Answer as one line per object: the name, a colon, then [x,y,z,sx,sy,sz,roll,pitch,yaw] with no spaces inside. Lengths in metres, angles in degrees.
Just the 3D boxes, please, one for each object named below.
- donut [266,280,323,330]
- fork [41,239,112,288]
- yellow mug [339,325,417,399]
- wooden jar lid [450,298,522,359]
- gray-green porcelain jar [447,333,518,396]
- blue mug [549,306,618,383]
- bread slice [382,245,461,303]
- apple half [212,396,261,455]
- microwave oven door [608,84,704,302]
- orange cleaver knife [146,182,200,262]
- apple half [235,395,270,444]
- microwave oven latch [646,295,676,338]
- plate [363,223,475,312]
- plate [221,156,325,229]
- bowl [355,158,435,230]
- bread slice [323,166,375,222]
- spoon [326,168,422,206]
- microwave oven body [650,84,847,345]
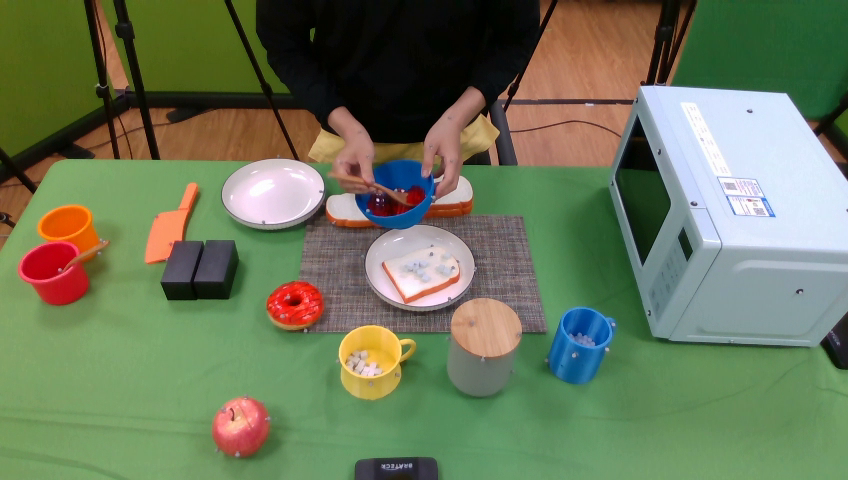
donut: [-0.223,0.113,1.051,0.099,0.048,0.098,2,46,-2]
fork: [-0.591,0.040,1.028,0.207,0.019,0.028,-27,37,29]
yellow mug: [-0.072,0.190,0.978,0.131,0.064,0.099,-17,50,-20]
wooden jar lid: [0.093,0.135,0.914,0.108,0.021,0.107,2,48,-3]
gray-green porcelain jar: [0.091,0.178,0.960,0.106,0.127,0.105,2,46,-2]
blue mug: [0.269,0.167,0.997,0.116,0.106,0.082,-19,51,-21]
bread slice: [0.001,0.055,1.129,0.131,0.019,0.104,-21,52,-19]
apple half: [-0.276,0.276,0.877,0.053,0.075,0.080,-29,58,-21]
microwave oven door: [0.424,-0.096,1.138,0.039,0.245,0.353,2,47,-1]
orange cleaver knife: [-0.494,-0.039,1.198,0.077,0.012,0.210,-3,48,2]
apple half: [-0.245,0.260,0.893,0.033,0.082,0.081,-29,55,-22]
microwave oven latch: [0.413,0.133,1.060,0.030,0.029,0.078,4,46,1]
plate: [-0.009,0.054,1.126,0.208,0.039,0.206,2,46,-2]
plate: [-0.308,-0.095,1.251,0.209,0.038,0.208,3,47,-3]
bowl: [-0.045,-0.073,1.123,0.151,0.077,0.150,-9,48,10]
bread slice: [-0.140,-0.092,1.224,0.134,0.018,0.106,-19,51,6]
spoon: [-0.086,-0.097,1.078,0.195,0.021,0.041,20,31,-33]
microwave oven body: [0.569,-0.054,1.116,0.326,0.261,0.439,2,46,-1]
